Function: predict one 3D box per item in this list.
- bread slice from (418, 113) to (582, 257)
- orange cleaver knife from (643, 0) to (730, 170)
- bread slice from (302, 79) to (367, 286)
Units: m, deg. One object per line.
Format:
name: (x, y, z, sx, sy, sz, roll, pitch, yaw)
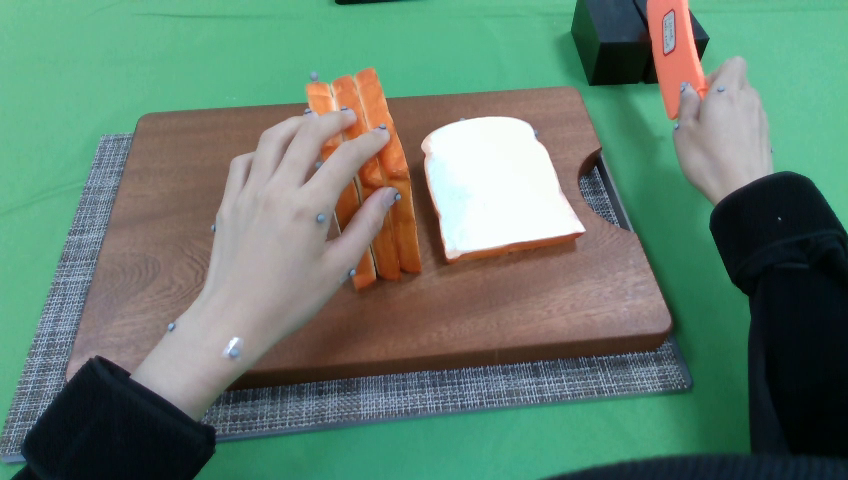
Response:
bread slice: (0.052, -0.048, 0.472, 0.105, 0.019, 0.130, -10, 56, -7)
orange cleaver knife: (0.223, -0.145, 0.529, 0.012, 0.077, 0.209, -2, 67, -5)
bread slice: (-0.064, -0.047, 0.427, 0.018, 0.108, 0.132, -12, 45, -9)
